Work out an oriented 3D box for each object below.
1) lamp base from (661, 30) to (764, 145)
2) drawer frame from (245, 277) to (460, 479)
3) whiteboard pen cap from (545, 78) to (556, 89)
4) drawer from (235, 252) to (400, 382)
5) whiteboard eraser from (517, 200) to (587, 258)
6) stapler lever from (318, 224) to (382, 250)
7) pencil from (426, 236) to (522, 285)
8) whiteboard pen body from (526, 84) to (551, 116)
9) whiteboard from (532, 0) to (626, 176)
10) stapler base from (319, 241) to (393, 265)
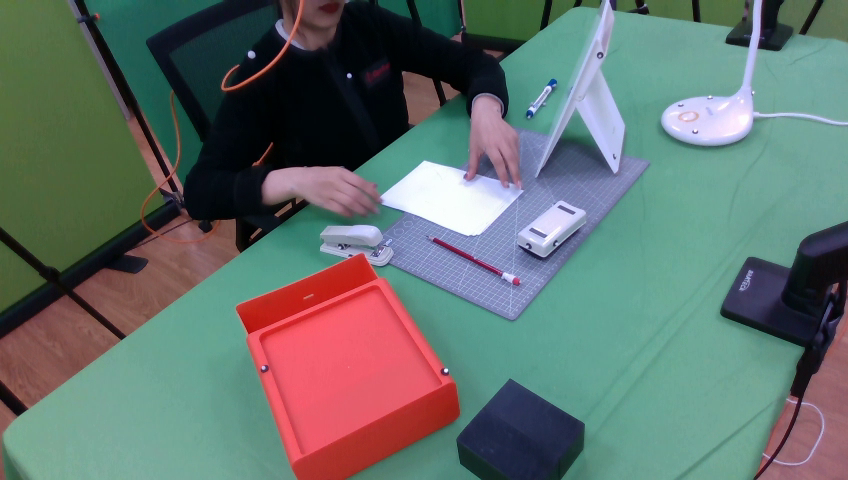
[{"bbox_3d":[0.535,-0.287,1.096,0.179,0.181,0.159,-10,40,-4],"label":"lamp base"},{"bbox_3d":[-0.093,0.167,0.755,0.202,0.083,0.211,-23,43,-17],"label":"drawer frame"},{"bbox_3d":[0.280,-0.344,1.335,0.018,0.018,0.033,15,45,26],"label":"whiteboard pen cap"},{"bbox_3d":[-0.125,0.132,0.804,0.195,0.073,0.210,-23,42,-17],"label":"drawer"},{"bbox_3d":[0.201,-0.016,0.943,0.113,0.042,0.055,-37,46,-29],"label":"whiteboard eraser"},{"bbox_3d":[-0.120,-0.010,0.972,0.117,0.040,0.027,11,44,27],"label":"stapler lever"},{"bbox_3d":[0.072,0.028,0.941,0.192,0.012,0.012,27,52,37],"label":"pencil"},{"bbox_3d":[0.251,-0.305,1.298,0.017,0.017,0.141,15,45,26],"label":"whiteboard pen body"},{"bbox_3d":[0.321,-0.258,1.050,0.144,0.306,0.217,22,45,5],"label":"whiteboard"},{"bbox_3d":[-0.114,0.009,0.988,0.130,0.024,0.041,12,44,27],"label":"stapler base"}]
